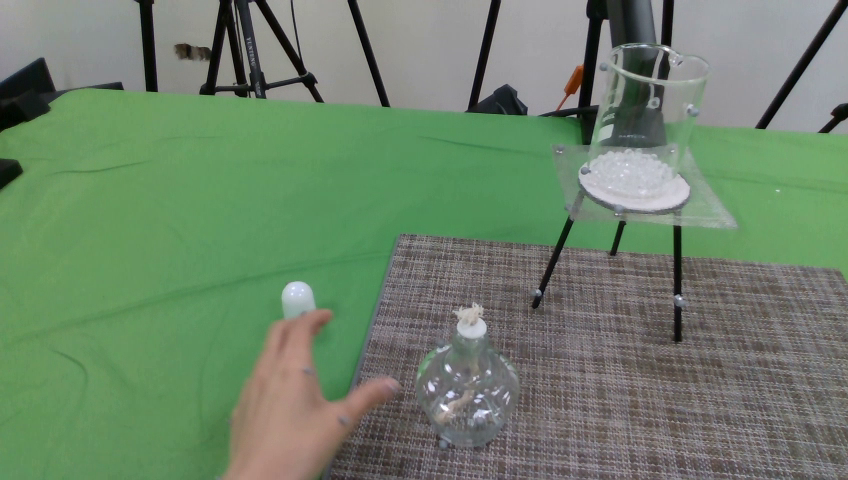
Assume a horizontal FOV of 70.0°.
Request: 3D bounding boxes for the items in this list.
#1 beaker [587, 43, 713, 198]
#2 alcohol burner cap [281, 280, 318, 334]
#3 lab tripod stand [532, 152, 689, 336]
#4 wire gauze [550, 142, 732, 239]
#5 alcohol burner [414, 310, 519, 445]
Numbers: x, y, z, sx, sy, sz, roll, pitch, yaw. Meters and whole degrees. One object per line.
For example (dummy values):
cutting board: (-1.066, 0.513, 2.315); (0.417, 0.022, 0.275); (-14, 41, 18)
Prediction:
beaker: (0.170, -0.092, 0.469); (0.073, 0.101, 0.084); (30, 46, 30)
alcohol burner cap: (-0.114, 0.058, 0.546); (0.034, 0.048, 0.033); (0, 38, 0)
lab tripod stand: (0.176, 0.002, 0.536); (0.148, 0.132, 0.147); (1, 38, -1)
wire gauze: (0.171, -0.047, 0.492); (0.125, 0.011, 0.120); (5, 40, 0)
alcohol burner: (0.031, 0.093, 0.436); (0.078, 0.120, 0.077); (1, 40, 0)
